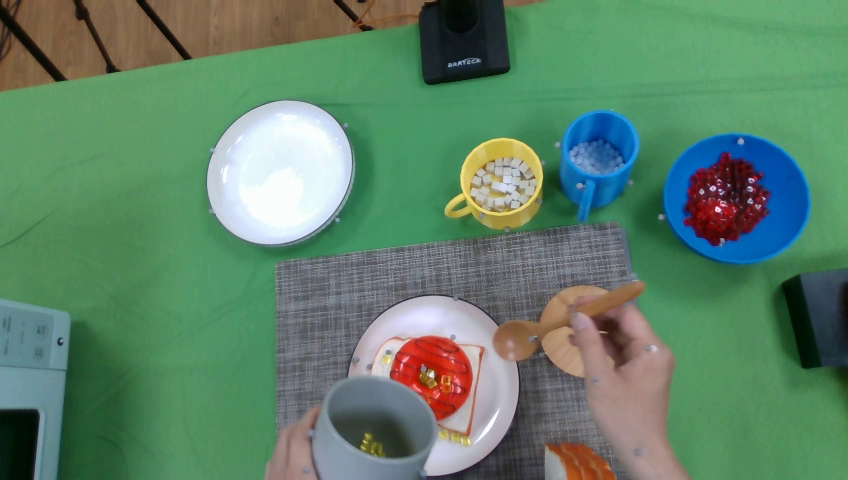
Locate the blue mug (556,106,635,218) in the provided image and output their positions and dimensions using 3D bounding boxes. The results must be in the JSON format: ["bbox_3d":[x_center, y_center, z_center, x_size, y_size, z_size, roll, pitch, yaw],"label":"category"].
[{"bbox_3d":[0.196,-0.082,0.717,0.082,0.106,0.116,14,79,13],"label":"blue mug"}]

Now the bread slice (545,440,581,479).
[{"bbox_3d":[0.142,0.265,0.627,0.018,0.135,0.106,2,74,3],"label":"bread slice"}]

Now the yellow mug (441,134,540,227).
[{"bbox_3d":[0.080,-0.065,0.754,0.131,0.064,0.099,-28,73,4],"label":"yellow mug"}]

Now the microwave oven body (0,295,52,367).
[{"bbox_3d":[-0.649,0.288,0.691,0.325,0.262,0.439,-6,76,8],"label":"microwave oven body"}]

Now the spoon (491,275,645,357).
[{"bbox_3d":[0.123,0.071,0.547,0.022,0.194,0.041,-24,82,-35],"label":"spoon"}]

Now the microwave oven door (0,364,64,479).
[{"bbox_3d":[-0.505,0.312,0.654,0.039,0.245,0.354,-6,75,9],"label":"microwave oven door"}]

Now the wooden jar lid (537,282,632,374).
[{"bbox_3d":[0.188,0.103,0.713,0.108,0.021,0.108,-2,77,10],"label":"wooden jar lid"}]

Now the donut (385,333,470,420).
[{"bbox_3d":[0.004,0.156,0.695,0.099,0.048,0.098,-1,77,6],"label":"donut"}]

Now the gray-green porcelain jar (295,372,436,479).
[{"bbox_3d":[-0.059,0.204,0.559,0.105,0.106,0.127,29,116,16],"label":"gray-green porcelain jar"}]

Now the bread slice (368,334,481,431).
[{"bbox_3d":[-0.003,0.166,0.726,0.131,0.019,0.104,7,77,8],"label":"bread slice"}]

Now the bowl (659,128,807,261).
[{"bbox_3d":[0.342,-0.043,0.695,0.151,0.077,0.150,-2,76,10],"label":"bowl"}]

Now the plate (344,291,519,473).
[{"bbox_3d":[0.010,0.166,0.720,0.209,0.038,0.208,-3,76,10],"label":"plate"}]

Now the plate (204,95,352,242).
[{"bbox_3d":[-0.196,-0.094,0.825,0.207,0.039,0.206,-2,76,10],"label":"plate"}]

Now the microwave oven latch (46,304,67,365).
[{"bbox_3d":[-0.497,0.125,0.804,0.030,0.030,0.079,-3,77,9],"label":"microwave oven latch"}]
